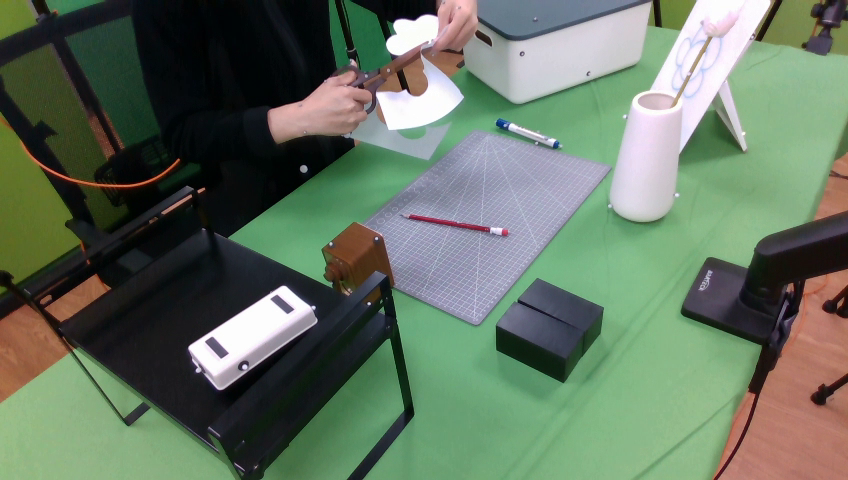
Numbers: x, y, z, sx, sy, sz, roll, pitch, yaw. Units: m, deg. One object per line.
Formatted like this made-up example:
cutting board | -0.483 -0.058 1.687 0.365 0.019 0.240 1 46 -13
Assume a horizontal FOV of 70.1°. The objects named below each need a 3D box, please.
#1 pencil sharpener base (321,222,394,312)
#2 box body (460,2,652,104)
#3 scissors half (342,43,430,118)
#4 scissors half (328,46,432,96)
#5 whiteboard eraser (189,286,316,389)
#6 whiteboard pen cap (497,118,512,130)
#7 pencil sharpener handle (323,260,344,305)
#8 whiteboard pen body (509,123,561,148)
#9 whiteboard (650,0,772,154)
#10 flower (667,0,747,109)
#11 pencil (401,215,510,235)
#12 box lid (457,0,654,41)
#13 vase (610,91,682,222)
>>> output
pencil sharpener base | -0.096 0.041 0.873 0.061 0.107 0.077 26 54 32
box body | 0.291 -0.465 1.371 0.365 0.161 0.252 -22 42 -16
scissors half | -0.058 -0.247 0.935 0.175 0.040 0.013 -37 17 21
scissors half | -0.070 -0.264 0.927 0.175 0.040 0.013 -16 29 12
whiteboard eraser | -0.166 0.096 0.593 0.113 0.042 0.055 -36 47 -29
whiteboard pen cap | 0.165 -0.235 1.227 0.033 0.018 0.018 31 53 31
pencil sharpener handle | -0.131 0.062 0.839 0.035 0.068 0.031 29 55 28
whiteboard pen body | 0.209 -0.211 1.195 0.139 0.017 0.017 30 52 33
whiteboard | 0.543 -0.298 1.076 0.144 0.305 0.216 12 40 -7
flower | 0.354 -0.187 0.879 0.038 0.362 0.044 30 48 14
pencil | 0.049 -0.027 1.007 0.193 0.012 0.012 10 43 21
box lid | 0.285 -0.522 1.323 0.373 0.015 0.261 -22 43 -16
vase | 0.348 -0.125 0.935 0.098 0.201 0.097 -3 40 3
